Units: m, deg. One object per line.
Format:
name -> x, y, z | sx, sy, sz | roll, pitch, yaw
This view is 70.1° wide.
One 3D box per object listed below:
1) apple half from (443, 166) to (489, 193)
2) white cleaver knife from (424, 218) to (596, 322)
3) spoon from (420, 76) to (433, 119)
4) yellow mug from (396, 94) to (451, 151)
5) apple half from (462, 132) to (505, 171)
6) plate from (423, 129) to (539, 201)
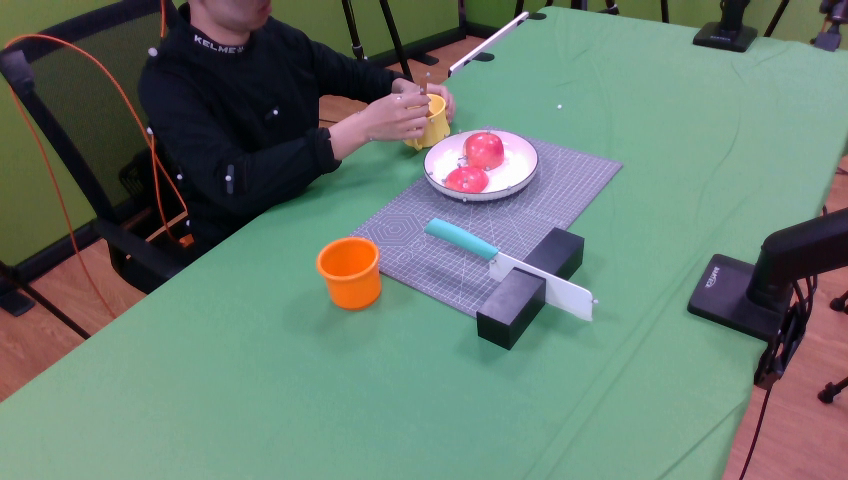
apple half -> 0.074, -0.112, 1.063 | 0.081, 0.033, 0.081 | -5, 39, 5
white cleaver knife -> 0.114, 0.042, 0.865 | 0.284, 0.066, 0.021 | 27, 47, 28
spoon -> 0.002, -0.253, 1.131 | 0.041, 0.194, 0.021 | -29, 71, -5
yellow mug -> -0.005, -0.228, 1.200 | 0.099, 0.064, 0.130 | 0, 44, 17
apple half -> 0.109, -0.169, 1.110 | 0.075, 0.053, 0.080 | -6, 40, -2
plate -> 0.103, -0.132, 1.092 | 0.209, 0.038, 0.208 | -4, 40, 4
